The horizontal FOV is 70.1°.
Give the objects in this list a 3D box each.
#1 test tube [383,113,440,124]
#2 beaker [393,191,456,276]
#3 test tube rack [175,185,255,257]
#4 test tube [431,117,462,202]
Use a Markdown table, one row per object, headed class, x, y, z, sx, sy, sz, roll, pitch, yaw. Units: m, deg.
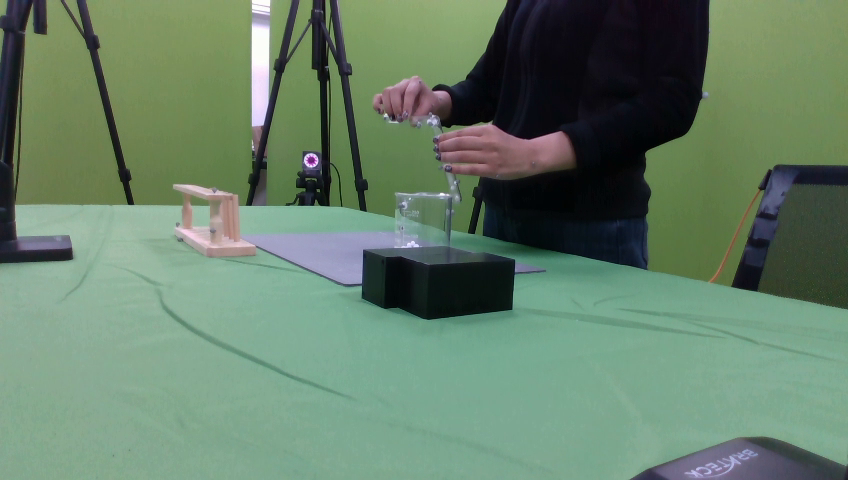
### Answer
| class | x | y | z | sx | sy | sz | roll | pitch | yaw |
| --- | --- | --- | --- | --- | --- | --- | --- | --- | --- |
| test tube | -0.024 | -0.200 | 0.991 | 0.017 | 0.017 | 0.149 | -3 | 12 | -36 |
| beaker | -0.003 | -0.010 | 0.749 | 0.074 | 0.100 | 0.083 | -3 | 9 | -40 |
| test tube rack | -0.324 | -0.035 | 0.922 | 0.067 | 0.085 | 0.241 | -2 | 9 | -31 |
| test tube | 0.034 | -0.121 | 0.902 | 0.017 | 0.150 | 0.017 | -11 | -25 | -5 |
